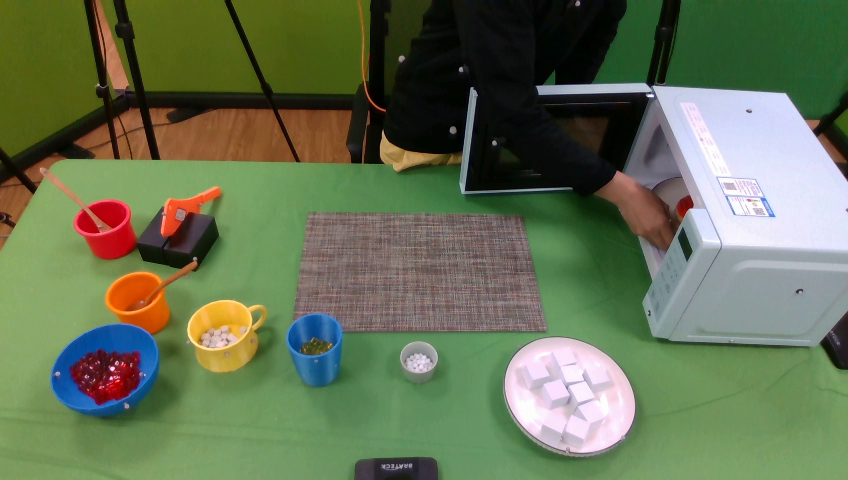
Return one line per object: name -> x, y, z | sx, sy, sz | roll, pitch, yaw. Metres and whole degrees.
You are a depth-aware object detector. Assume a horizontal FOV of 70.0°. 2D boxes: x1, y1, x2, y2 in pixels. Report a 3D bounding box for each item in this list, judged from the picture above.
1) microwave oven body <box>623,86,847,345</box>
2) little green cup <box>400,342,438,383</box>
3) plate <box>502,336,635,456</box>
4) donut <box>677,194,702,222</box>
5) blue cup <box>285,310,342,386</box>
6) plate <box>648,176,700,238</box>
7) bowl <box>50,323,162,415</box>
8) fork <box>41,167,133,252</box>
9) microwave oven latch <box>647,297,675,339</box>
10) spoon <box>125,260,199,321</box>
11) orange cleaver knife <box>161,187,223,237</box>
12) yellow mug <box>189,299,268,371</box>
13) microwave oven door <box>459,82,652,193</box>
microwave oven body -> 0.567, -0.053, 1.118 | 0.326, 0.261, 0.439 | 2, 45, -1
little green cup -> -0.009, 0.202, 0.991 | 0.061, 0.039, 0.061 | 2, 47, -2
plate -> 0.225, 0.248, 0.963 | 0.208, 0.039, 0.206 | 2, 46, -2
donut -> 0.539, -0.051, 1.169 | 0.099, 0.048, 0.098 | 3, 45, -2
blue cup -> -0.169, 0.179, 0.958 | 0.093, 0.101, 0.092 | 1, 44, -1
plate -> 0.539, -0.047, 1.177 | 0.209, 0.038, 0.208 | 1, 43, -1
bowl -> -0.472, 0.209, 0.924 | 0.151, 0.077, 0.150 | 3, 45, -2
fork -> -0.624, -0.056, 1.121 | 0.208, 0.018, 0.028 | 49, 52, -15
microwave oven latch -> 0.413, 0.134, 1.061 | 0.030, 0.029, 0.078 | 5, 45, 2
spoon -> -0.435, 0.083, 1.000 | 0.022, 0.194, 0.041 | 35, 34, -35
orange cleaver knife -> -0.448, -0.058, 1.181 | 0.012, 0.077, 0.211 | 13, 17, 6
yellow mug -> -0.316, 0.148, 1.002 | 0.131, 0.064, 0.099 | -33, 56, -31
microwave oven door -> 0.259, -0.206, 1.238 | 0.356, 0.245, 0.039 | -3, 46, -7
